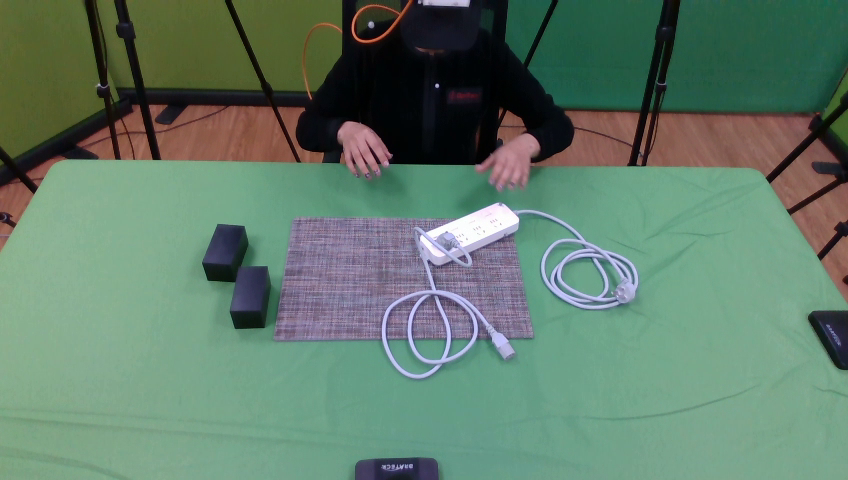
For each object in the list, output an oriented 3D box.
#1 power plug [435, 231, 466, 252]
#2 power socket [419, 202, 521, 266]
[{"bbox_3d":[0.047,0.015,1.141,0.035,0.053,0.072,-13,47,-17],"label":"power plug"},{"bbox_3d":[0.093,-0.014,1.204,0.227,0.033,0.072,-22,52,-24],"label":"power socket"}]
